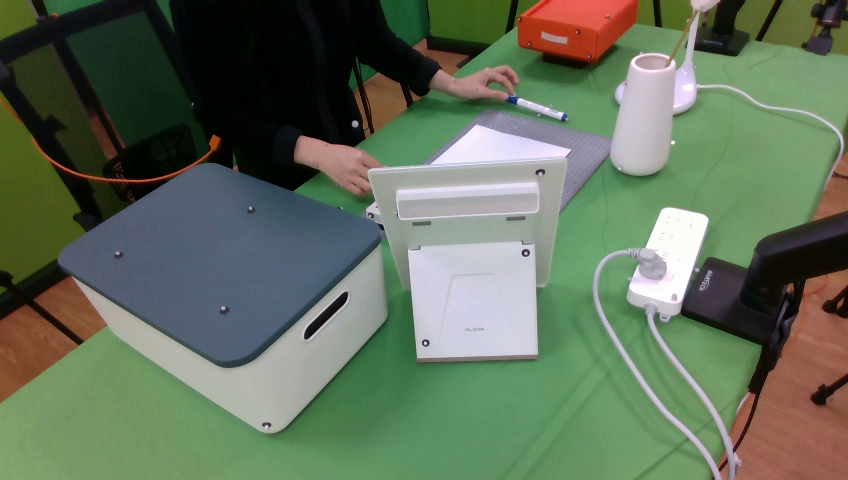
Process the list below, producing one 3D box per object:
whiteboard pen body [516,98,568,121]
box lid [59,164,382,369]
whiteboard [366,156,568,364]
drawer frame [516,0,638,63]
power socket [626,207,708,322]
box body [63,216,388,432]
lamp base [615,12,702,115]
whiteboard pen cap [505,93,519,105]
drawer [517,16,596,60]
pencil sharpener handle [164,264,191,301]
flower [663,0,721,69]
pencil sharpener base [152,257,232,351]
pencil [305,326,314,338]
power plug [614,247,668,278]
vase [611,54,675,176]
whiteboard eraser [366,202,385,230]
[{"bbox_3d":[0.236,-0.277,1.265,0.139,0.017,0.017,27,51,29],"label":"whiteboard pen body"},{"bbox_3d":[-0.263,0.010,0.777,0.368,0.015,0.264,20,47,29],"label":"box lid"},{"bbox_3d":[0.059,0.050,0.738,0.217,0.307,0.143,-2,60,6],"label":"whiteboard"},{"bbox_3d":[0.355,-0.508,1.411,0.200,0.083,0.214,23,51,32],"label":"drawer frame"},{"bbox_3d":[0.359,0.025,0.886,0.072,0.033,0.227,16,46,26],"label":"power socket"},{"bbox_3d":[-0.256,0.065,0.827,0.361,0.161,0.255,20,48,29],"label":"box body"},{"bbox_3d":[0.484,-0.363,1.211,0.180,0.181,0.159,-15,41,-14],"label":"lamp base"},{"bbox_3d":[0.191,-0.301,1.295,0.033,0.018,0.018,31,53,28],"label":"whiteboard pen cap"},{"bbox_3d":[0.352,-0.506,1.405,0.193,0.073,0.212,23,49,32],"label":"drawer"},{"bbox_3d":[-0.354,0.055,0.866,0.036,0.068,0.030,-17,39,-29],"label":"pencil sharpener handle"},{"bbox_3d":[0.379,-0.261,0.965,0.044,0.362,0.038,20,53,5],"label":"flower"},{"bbox_3d":[-0.323,0.088,0.842,0.061,0.107,0.076,-27,44,-20],"label":"pencil sharpener base"},{"bbox_3d":[-0.187,0.105,0.879,0.012,0.012,0.192,-27,42,-22],"label":"pencil"},{"bbox_3d":[0.306,0.031,0.851,0.072,0.053,0.035,24,49,33],"label":"power plug"},{"bbox_3d":[0.377,-0.209,1.031,0.098,0.201,0.097,-4,40,3],"label":"vase"},{"bbox_3d":[-0.038,-0.038,1.006,0.112,0.042,0.055,16,47,25],"label":"whiteboard eraser"}]
